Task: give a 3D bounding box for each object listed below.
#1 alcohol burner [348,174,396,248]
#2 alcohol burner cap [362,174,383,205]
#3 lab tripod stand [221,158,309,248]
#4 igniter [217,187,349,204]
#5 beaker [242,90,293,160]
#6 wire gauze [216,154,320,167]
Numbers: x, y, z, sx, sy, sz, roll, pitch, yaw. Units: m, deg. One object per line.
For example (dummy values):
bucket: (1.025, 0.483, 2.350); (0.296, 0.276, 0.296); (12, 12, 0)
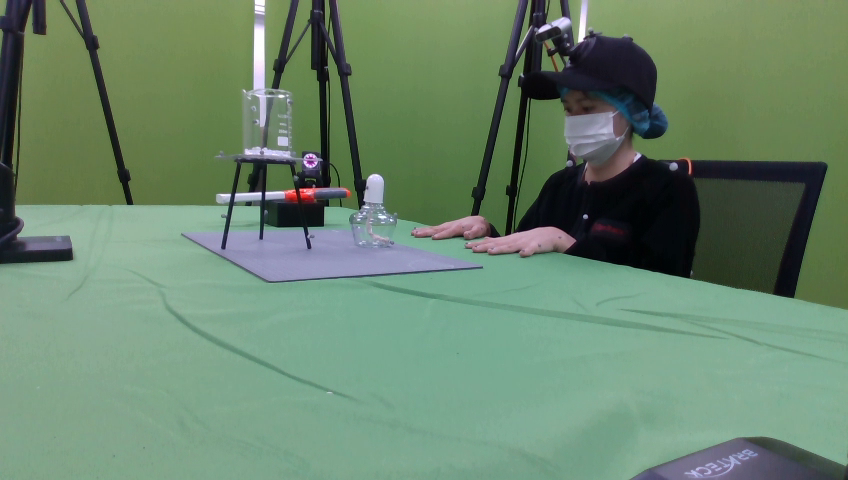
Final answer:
alcohol burner: (-0.083, -0.046, 0.973); (0.078, 0.119, 0.078); (4, 6, 0)
alcohol burner cap: (-0.081, -0.082, 0.969); (0.034, 0.048, 0.034); (7, 8, -1)
lab tripod stand: (-0.244, -0.057, 0.917); (0.148, 0.131, 0.148); (1, 7, 0)
igniter: (-0.285, -0.093, 1.256); (0.278, 0.025, 0.057); (-6, 12, -34)
beaker: (-0.235, -0.169, 0.899); (0.074, 0.100, 0.084); (4, 7, 23)
wire gauze: (-0.236, -0.121, 0.906); (0.126, 0.011, 0.121); (0, 8, -33)
